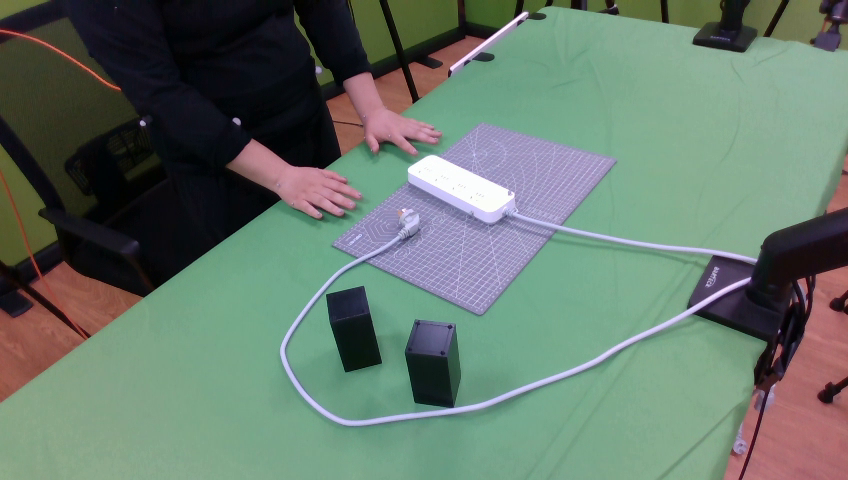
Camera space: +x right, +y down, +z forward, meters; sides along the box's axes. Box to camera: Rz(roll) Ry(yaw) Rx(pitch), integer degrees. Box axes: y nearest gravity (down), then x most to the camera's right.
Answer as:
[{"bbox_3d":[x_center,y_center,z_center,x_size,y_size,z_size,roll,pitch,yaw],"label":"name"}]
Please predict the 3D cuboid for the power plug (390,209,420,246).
[{"bbox_3d":[-0.038,-0.027,0.987,0.073,0.035,0.052,-23,45,-33],"label":"power plug"}]

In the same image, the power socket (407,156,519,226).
[{"bbox_3d":[0.062,-0.089,1.053,0.072,0.033,0.225,-36,48,-29],"label":"power socket"}]
